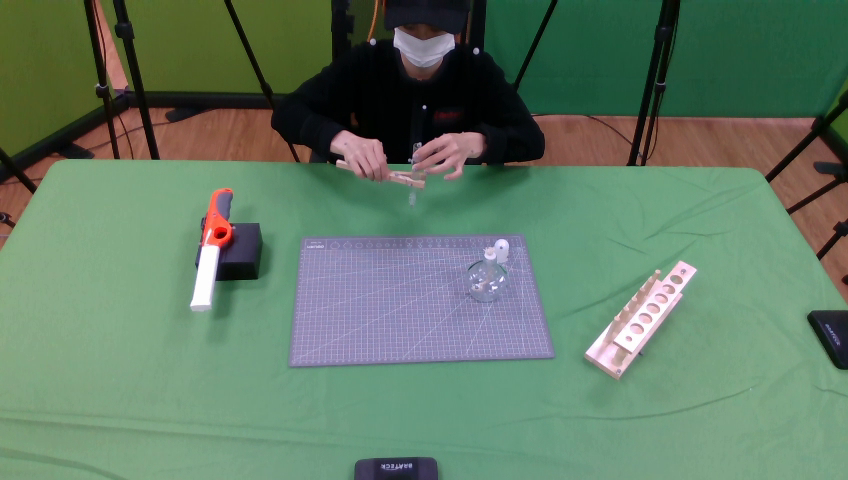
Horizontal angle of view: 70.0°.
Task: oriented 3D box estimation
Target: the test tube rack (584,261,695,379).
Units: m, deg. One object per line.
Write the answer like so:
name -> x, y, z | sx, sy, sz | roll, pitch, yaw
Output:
test tube rack -> 0.380, 0.127, 1.062 | 0.066, 0.085, 0.242 | 34, 53, 26

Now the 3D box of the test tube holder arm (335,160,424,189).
test tube holder arm -> -0.086, -0.128, 1.173 | 0.178, 0.015, 0.013 | 14, 45, 6

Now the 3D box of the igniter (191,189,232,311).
igniter -> -0.381, 0.008, 1.092 | 0.057, 0.025, 0.274 | -1, 50, -7

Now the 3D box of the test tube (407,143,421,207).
test tube -> -0.020, -0.122, 1.163 | 0.017, 0.151, 0.017 | 4, 46, -4

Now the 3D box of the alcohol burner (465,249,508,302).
alcohol burner -> 0.114, 0.057, 1.085 | 0.078, 0.120, 0.077 | 2, 48, -2

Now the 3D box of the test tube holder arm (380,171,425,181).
test tube holder arm -> -0.042, -0.124, 1.175 | 0.088, 0.015, 0.010 | 2, 46, -6

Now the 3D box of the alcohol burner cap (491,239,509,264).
alcohol burner cap -> 0.150, 0.020, 1.174 | 0.034, 0.048, 0.033 | 2, 46, -2
